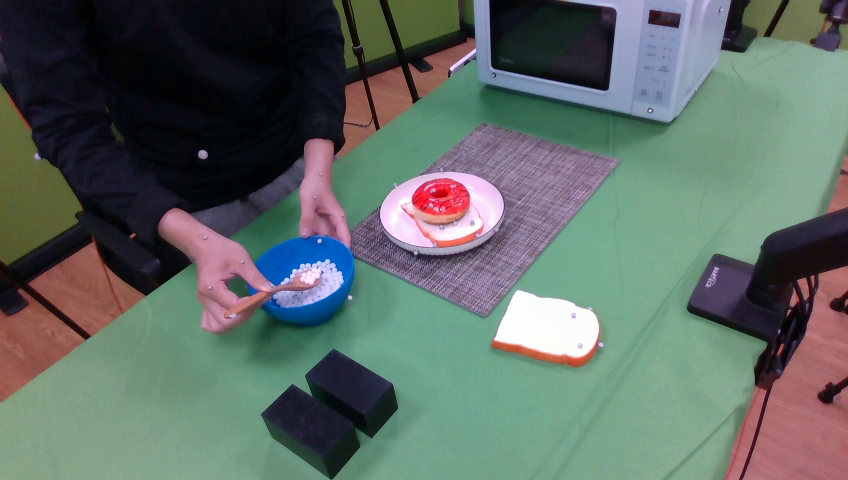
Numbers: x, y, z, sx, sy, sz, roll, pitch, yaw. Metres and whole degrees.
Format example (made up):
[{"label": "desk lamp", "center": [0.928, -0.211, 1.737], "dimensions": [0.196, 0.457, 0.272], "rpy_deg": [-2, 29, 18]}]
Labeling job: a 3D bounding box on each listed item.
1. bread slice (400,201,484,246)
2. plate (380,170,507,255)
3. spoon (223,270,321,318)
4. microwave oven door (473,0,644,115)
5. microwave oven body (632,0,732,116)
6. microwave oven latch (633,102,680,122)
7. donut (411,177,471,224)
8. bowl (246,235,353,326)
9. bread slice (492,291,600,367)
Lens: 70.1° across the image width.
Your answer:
[{"label": "bread slice", "center": [0.037, -0.037, 0.990], "dimensions": [0.107, 0.018, 0.133], "rpy_deg": [-23, 42, -17]}, {"label": "plate", "center": [0.033, -0.042, 0.995], "dimensions": [0.207, 0.039, 0.206], "rpy_deg": [-4, 40, 4]}, {"label": "spoon", "center": [-0.196, 0.067, 0.786], "dimensions": [0.041, 0.021, 0.194], "rpy_deg": [13, 13, 20]}, {"label": "microwave oven door", "center": [0.257, -0.396, 1.199], "dimensions": [0.353, 0.245, 0.039], "rpy_deg": [21, 48, 29]}, {"label": "microwave oven body", "center": [0.377, -0.462, 1.267], "dimensions": [0.438, 0.261, 0.327], "rpy_deg": [21, 48, 30]}, {"label": "microwave oven latch", "center": [0.444, -0.249, 1.157], "dimensions": [0.078, 0.029, 0.030], "rpy_deg": [21, 49, 30]}, {"label": "donut", "center": [0.028, -0.064, 0.978], "dimensions": [0.099, 0.048, 0.098], "rpy_deg": [-4, 40, 4]}, {"label": "bowl", "center": [-0.170, 0.070, 0.867], "dimensions": [0.151, 0.077, 0.150], "rpy_deg": [-4, 40, 4]}, {"label": "bread slice", "center": [0.169, 0.118, 0.811], "dimensions": [0.131, 0.019, 0.105], "rpy_deg": [11, 45, 22]}]
